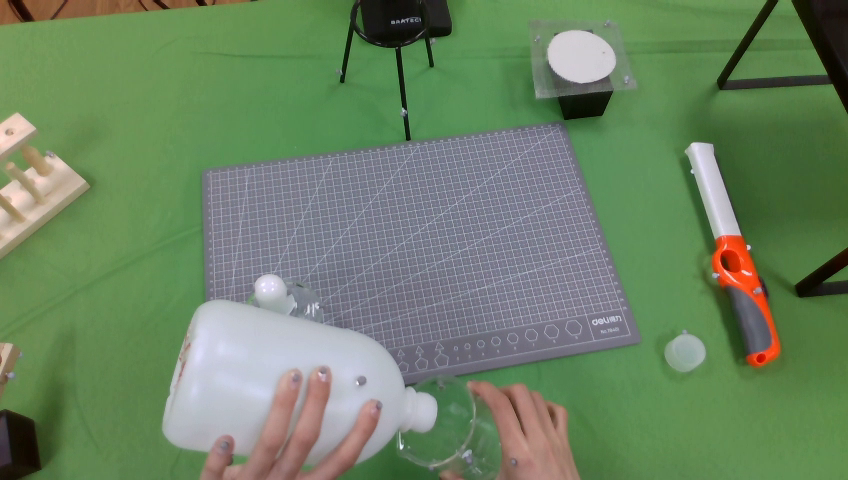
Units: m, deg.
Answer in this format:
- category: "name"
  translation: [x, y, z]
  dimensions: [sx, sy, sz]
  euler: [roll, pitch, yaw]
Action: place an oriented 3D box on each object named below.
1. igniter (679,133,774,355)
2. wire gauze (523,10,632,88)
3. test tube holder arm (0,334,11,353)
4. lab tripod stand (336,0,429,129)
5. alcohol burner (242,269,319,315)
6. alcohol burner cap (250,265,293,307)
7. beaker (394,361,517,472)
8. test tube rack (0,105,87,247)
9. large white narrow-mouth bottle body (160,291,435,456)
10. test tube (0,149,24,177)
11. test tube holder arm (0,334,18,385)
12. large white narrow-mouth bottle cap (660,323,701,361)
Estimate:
- category: "igniter"
  translation: [0.341, -0.004, 0.689]
  dimensions: [0.057, 0.025, 0.274]
  euler: [1, 64, -13]
- category: "wire gauze"
  translation: [0.187, -0.241, 0.754]
  dimensions: [0.121, 0.011, 0.124]
  euler: [-2, 64, -3]
- category: "test tube holder arm"
  translation: [-0.401, 0.129, 0.552]
  dimensions: [0.010, 0.015, 0.087]
  euler: [1, 64, 7]
- category: "lab tripod stand"
  translation: [-0.041, -0.229, 0.725]
  dimensions: [0.148, 0.132, 0.147]
  euler: [2, 65, -3]
- category: "alcohol burner"
  translation: [-0.144, 0.058, 0.591]
  dimensions: [0.078, 0.120, 0.077]
  euler: [2, 62, -3]
- category: "alcohol burner cap"
  translation: [-0.143, 0.043, 0.558]
  dimensions: [0.034, 0.048, 0.033]
  euler: [-1, 59, 1]
- category: "beaker"
  translation: [0.030, 0.160, 0.528]
  dimensions: [0.084, 0.101, 0.073]
  euler: [-41, 47, 8]
- category: "test tube rack"
  translation: [-0.495, -0.026, 0.637]
  dimensions: [0.066, 0.086, 0.242]
  euler: [37, 68, 15]
- category: "large white narrow-mouth bottle body"
  translation: [-0.083, 0.107, 0.451]
  dimensions: [0.196, 0.102, 0.101]
  euler: [17, 62, -23]
- category: "test tube"
  translation: [-0.464, -0.110, 0.624]
  dimensions: [0.017, 0.151, 0.017]
  euler: [-1, 63, 2]
- category: "test tube holder arm"
  translation: [-0.398, 0.170, 0.532]
  dimensions: [0.013, 0.015, 0.177]
  euler: [1, 64, 7]
- category: "large white narrow-mouth bottle cap"
  translation: [0.269, 0.107, 0.637]
  dimensions: [0.038, 0.024, 0.037]
  euler: [1, 64, -1]
